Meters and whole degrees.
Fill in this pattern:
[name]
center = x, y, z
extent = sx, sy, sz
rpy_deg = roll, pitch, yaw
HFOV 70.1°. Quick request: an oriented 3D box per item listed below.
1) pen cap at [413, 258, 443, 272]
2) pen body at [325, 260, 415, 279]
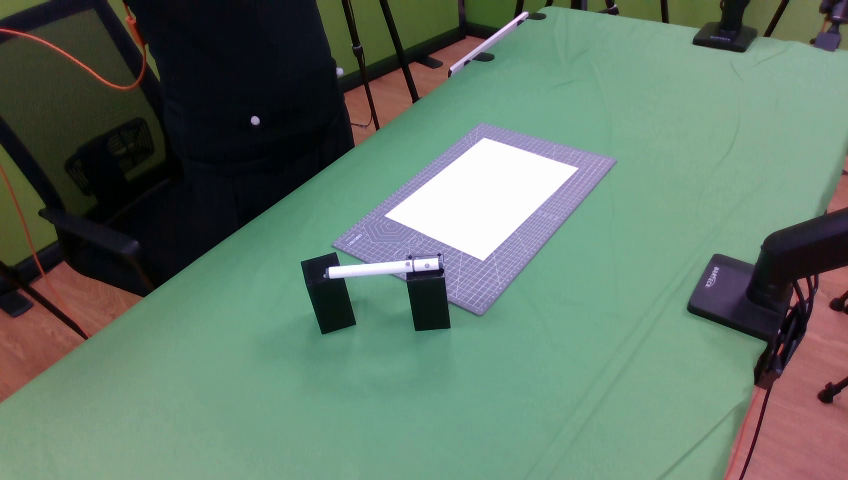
[pen cap]
center = 0.005, 0.031, 0.781
extent = 0.038, 0.017, 0.017
rpy_deg = -5, 40, 3
[pen body]
center = -0.056, 0.037, 0.784
extent = 0.144, 0.017, 0.017
rpy_deg = -5, 40, 4
